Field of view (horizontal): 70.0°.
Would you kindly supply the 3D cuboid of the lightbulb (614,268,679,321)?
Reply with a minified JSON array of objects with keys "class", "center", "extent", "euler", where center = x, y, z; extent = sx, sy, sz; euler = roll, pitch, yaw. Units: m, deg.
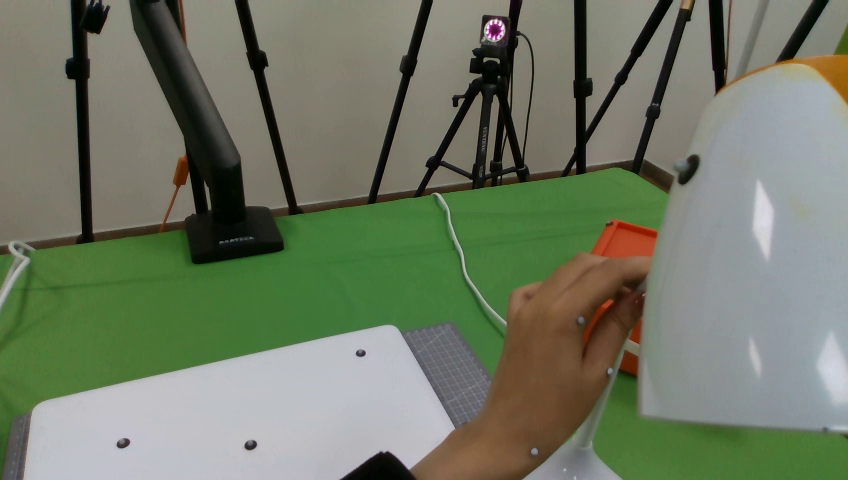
[{"class":"lightbulb","center":[0.274,0.071,0.740],"extent":[0.060,0.060,0.107],"euler":[-3,15,-11]}]

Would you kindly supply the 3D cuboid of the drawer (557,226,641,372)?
[{"class":"drawer","center":[0.283,0.074,0.721],"extent":[0.193,0.074,0.211],"euler":[17,32,21]}]

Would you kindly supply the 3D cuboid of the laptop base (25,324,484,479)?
[{"class":"laptop base","center":[-0.151,0.187,0.538],"extent":[0.355,0.023,0.232],"euler":[-10,37,-22]}]

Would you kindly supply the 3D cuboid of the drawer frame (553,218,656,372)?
[{"class":"drawer frame","center":[0.283,0.071,0.723],"extent":[0.200,0.083,0.213],"euler":[17,32,21]}]

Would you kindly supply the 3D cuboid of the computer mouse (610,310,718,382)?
[{"class":"computer mouse","center":[0.268,0.115,0.675],"extent":[0.117,0.041,0.062],"euler":[17,32,12]}]

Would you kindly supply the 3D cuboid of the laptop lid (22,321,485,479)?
[{"class":"laptop lid","center":[-0.149,0.178,0.529],"extent":[0.358,0.013,0.239],"euler":[-9,36,-21]}]

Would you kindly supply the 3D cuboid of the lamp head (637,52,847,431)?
[{"class":"lamp head","center":[0.128,0.004,0.205],"extent":[0.112,0.113,0.122],"euler":[4,72,0]}]

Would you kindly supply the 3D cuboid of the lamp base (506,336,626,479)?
[{"class":"lamp base","center":[0.125,0.172,0.437],"extent":[0.161,0.181,0.177],"euler":[1,31,-6]}]
